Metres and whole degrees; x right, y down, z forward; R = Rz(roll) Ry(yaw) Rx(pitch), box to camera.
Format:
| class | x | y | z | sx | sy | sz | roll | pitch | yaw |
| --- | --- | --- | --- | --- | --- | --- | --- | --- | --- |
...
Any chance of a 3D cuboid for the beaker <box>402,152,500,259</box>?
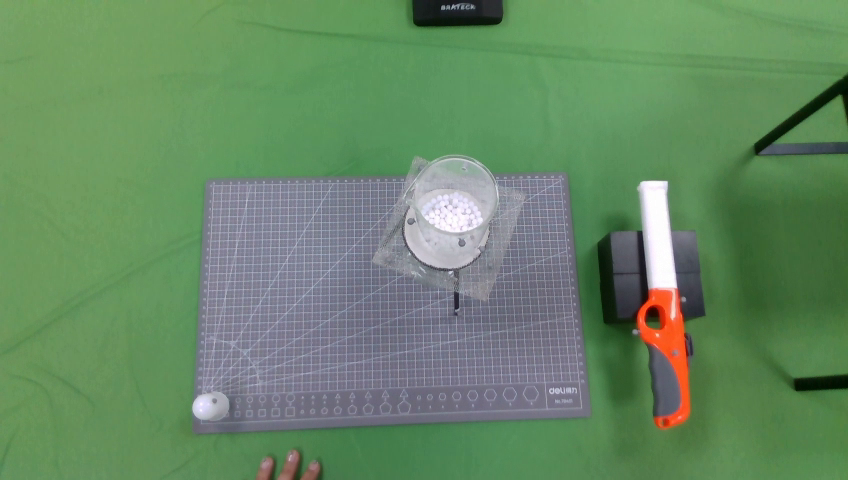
| class | x | y | z | sx | sy | sz | roll | pitch | yaw |
| --- | --- | --- | --- | --- | --- | --- | --- | --- | --- |
| beaker | 0.023 | -0.027 | 0.560 | 0.084 | 0.101 | 0.073 | -1 | 74 | -1 |

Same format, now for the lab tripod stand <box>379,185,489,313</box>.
| class | x | y | z | sx | sy | sz | roll | pitch | yaw |
| --- | --- | --- | --- | --- | --- | --- | --- | --- | --- |
| lab tripod stand | 0.020 | -0.001 | 0.671 | 0.148 | 0.132 | 0.147 | 1 | 74 | -2 |

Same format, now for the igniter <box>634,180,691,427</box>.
| class | x | y | z | sx | sy | sz | roll | pitch | yaw |
| --- | --- | --- | --- | --- | --- | --- | --- | --- | --- |
| igniter | 0.261 | 0.065 | 0.674 | 0.057 | 0.025 | 0.275 | 0 | 75 | 1 |

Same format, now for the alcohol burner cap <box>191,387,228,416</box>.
| class | x | y | z | sx | sy | sz | roll | pitch | yaw |
| --- | --- | --- | --- | --- | --- | --- | --- | --- | --- |
| alcohol burner cap | -0.237 | 0.177 | 0.664 | 0.034 | 0.048 | 0.033 | 1 | 76 | -3 |

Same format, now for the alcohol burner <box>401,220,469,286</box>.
| class | x | y | z | sx | sy | sz | roll | pitch | yaw |
| --- | --- | --- | --- | --- | --- | --- | --- | --- | --- |
| alcohol burner | 0.012 | 0.011 | 0.678 | 0.078 | 0.119 | 0.077 | 0 | 77 | -1 |

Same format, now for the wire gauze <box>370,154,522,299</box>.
| class | x | y | z | sx | sy | sz | roll | pitch | yaw |
| --- | --- | --- | --- | --- | --- | --- | --- | --- | --- |
| wire gauze | 0.025 | -0.015 | 0.607 | 0.121 | 0.011 | 0.124 | 21 | 72 | 1 |
